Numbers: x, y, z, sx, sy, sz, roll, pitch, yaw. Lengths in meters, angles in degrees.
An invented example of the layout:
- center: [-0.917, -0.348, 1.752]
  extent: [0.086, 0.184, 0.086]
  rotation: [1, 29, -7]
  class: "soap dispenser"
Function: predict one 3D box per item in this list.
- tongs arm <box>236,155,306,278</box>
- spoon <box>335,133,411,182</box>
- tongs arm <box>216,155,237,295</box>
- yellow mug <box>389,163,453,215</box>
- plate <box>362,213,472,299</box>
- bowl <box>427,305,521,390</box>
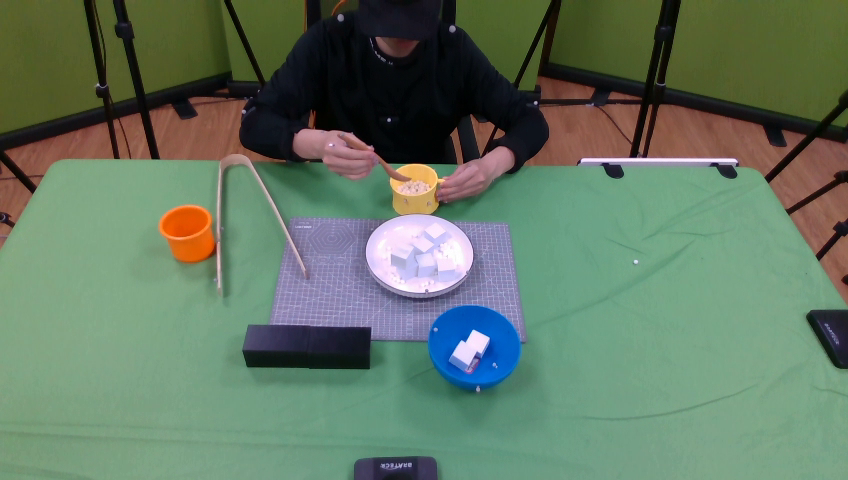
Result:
- center: [-0.311, -0.059, 1.224]
  extent: [0.028, 0.028, 0.385]
  rotation: [-22, 50, -18]
  class: "tongs arm"
- center: [-0.093, -0.152, 1.126]
  extent: [0.041, 0.195, 0.021]
  rotation: [16, 77, 45]
  class: "spoon"
- center: [-0.388, -0.043, 1.201]
  extent: [0.051, 0.026, 0.382]
  rotation: [-10, 46, -12]
  class: "tongs arm"
- center: [-0.006, -0.104, 1.258]
  extent: [0.131, 0.064, 0.099]
  rotation: [-3, 47, 1]
  class: "yellow mug"
- center: [-0.013, 0.034, 1.150]
  extent: [0.208, 0.039, 0.206]
  rotation: [2, 46, -2]
  class: "plate"
- center: [0.076, 0.188, 0.985]
  extent: [0.151, 0.077, 0.150]
  rotation: [3, 46, -3]
  class: "bowl"
